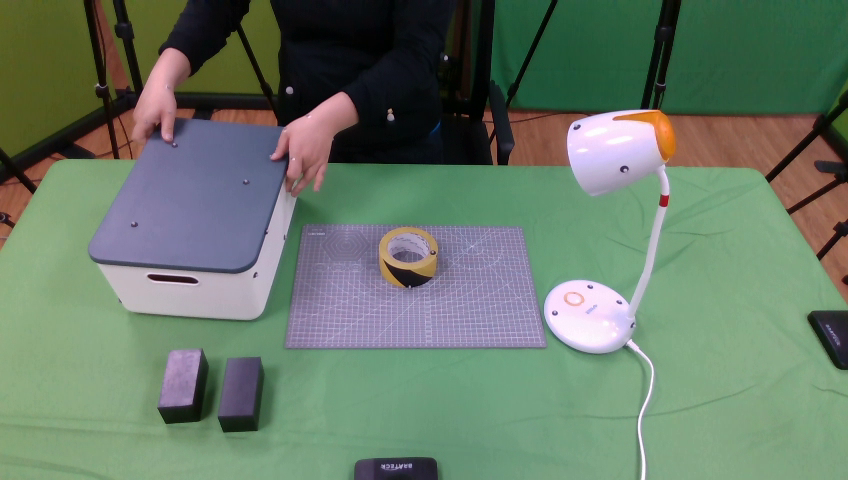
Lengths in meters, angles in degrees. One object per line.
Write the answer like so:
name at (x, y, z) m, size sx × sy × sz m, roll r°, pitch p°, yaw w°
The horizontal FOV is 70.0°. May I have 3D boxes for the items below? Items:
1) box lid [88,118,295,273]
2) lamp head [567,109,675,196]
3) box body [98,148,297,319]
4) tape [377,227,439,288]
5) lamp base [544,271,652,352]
box lid at (-0.385, -0.090, 1.050) m, size 0.263 × 0.015 × 0.369 m, roll 4°, pitch 47°, yaw 0°
lamp head at (0.272, -0.123, 0.818) m, size 0.122 × 0.113 × 0.112 m, roll -9°, pitch 35°, yaw 37°
box body at (-0.388, -0.041, 1.106) m, size 0.254 × 0.161 × 0.362 m, roll 4°, pitch 47°, yaw 0°
tape at (-0.031, 0.032, 1.140) m, size 0.117 × 0.053 × 0.116 m, roll 2°, pitch 46°, yaw -2°
lamp base at (0.309, 0.086, 1.029) m, size 0.178 × 0.181 × 0.160 m, roll 32°, pitch 52°, yaw 21°
